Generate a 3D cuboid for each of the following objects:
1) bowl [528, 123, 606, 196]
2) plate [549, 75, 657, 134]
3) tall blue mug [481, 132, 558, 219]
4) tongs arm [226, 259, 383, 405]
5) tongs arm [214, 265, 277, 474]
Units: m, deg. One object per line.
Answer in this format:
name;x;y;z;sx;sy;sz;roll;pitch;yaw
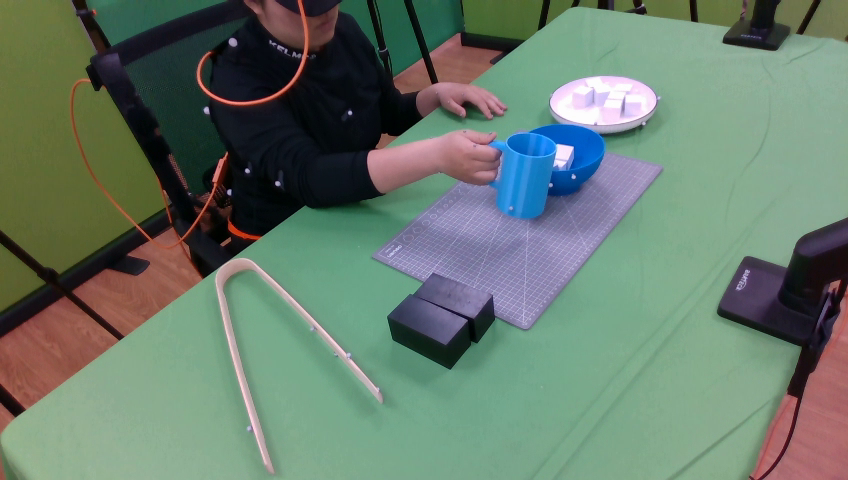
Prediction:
bowl;0.234;-0.130;1.044;0.151;0.077;0.150;-5;40;5
plate;0.357;-0.269;1.220;0.209;0.038;0.208;-5;41;5
tall blue mug;0.138;-0.099;0.910;0.107;0.108;0.077;8;38;4
tongs arm;-0.185;0.121;0.863;0.051;0.027;0.381;-34;45;-20
tongs arm;-0.252;0.159;0.837;0.028;0.028;0.384;-28;43;-8
